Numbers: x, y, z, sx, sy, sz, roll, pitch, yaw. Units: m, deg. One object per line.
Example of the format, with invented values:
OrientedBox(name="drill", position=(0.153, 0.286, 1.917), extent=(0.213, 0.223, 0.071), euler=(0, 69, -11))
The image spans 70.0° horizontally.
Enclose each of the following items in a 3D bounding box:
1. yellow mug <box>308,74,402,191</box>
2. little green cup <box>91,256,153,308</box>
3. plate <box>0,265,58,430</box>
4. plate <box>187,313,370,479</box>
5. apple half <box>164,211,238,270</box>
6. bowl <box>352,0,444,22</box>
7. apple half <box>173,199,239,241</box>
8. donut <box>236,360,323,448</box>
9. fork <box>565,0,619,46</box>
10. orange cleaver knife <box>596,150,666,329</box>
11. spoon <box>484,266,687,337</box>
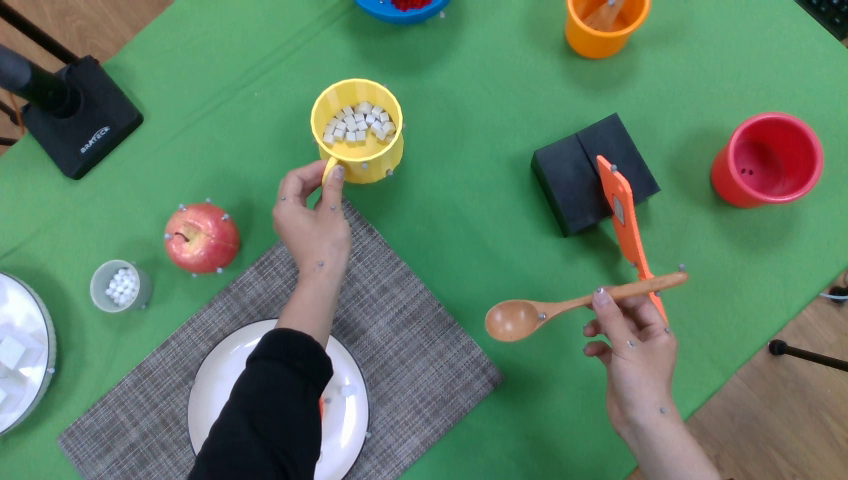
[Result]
OrientedBox(name="yellow mug", position=(-0.082, -0.112, 0.678), extent=(0.100, 0.064, 0.130), euler=(26, 76, 5))
OrientedBox(name="little green cup", position=(-0.359, 0.052, 0.726), extent=(0.061, 0.039, 0.061), euler=(-1, 83, 5))
OrientedBox(name="plate", position=(-0.536, 0.131, 0.730), extent=(0.207, 0.039, 0.207), euler=(-1, 83, 5))
OrientedBox(name="plate", position=(-0.162, 0.187, 0.690), extent=(0.209, 0.038, 0.208), euler=(-1, 83, 5))
OrientedBox(name="apple half", position=(-0.264, 0.007, 0.707), extent=(0.081, 0.075, 0.053), euler=(27, 90, 4))
OrientedBox(name="bowl", position=(-0.027, -0.322, 0.724), extent=(0.151, 0.077, 0.151), euler=(-1, 84, 5))
OrientedBox(name="apple half", position=(-0.247, -0.028, 0.708), extent=(0.081, 0.081, 0.033), euler=(27, 89, 8))
OrientedBox(name="donut", position=(-0.161, 0.184, 0.679), extent=(0.099, 0.048, 0.099), euler=(0, 86, 5))
OrientedBox(name="fork", position=(0.235, -0.292, 0.663), extent=(0.207, 0.019, 0.028), euler=(-41, 76, 43))
OrientedBox(name="orange cleaver knife", position=(0.225, 0.002, 0.660), extent=(0.012, 0.076, 0.213), euler=(-23, 114, 3))
OrientedBox(name="spoon", position=(0.151, 0.055, 0.578), extent=(0.193, 0.022, 0.041), euler=(-17, 70, 21))
